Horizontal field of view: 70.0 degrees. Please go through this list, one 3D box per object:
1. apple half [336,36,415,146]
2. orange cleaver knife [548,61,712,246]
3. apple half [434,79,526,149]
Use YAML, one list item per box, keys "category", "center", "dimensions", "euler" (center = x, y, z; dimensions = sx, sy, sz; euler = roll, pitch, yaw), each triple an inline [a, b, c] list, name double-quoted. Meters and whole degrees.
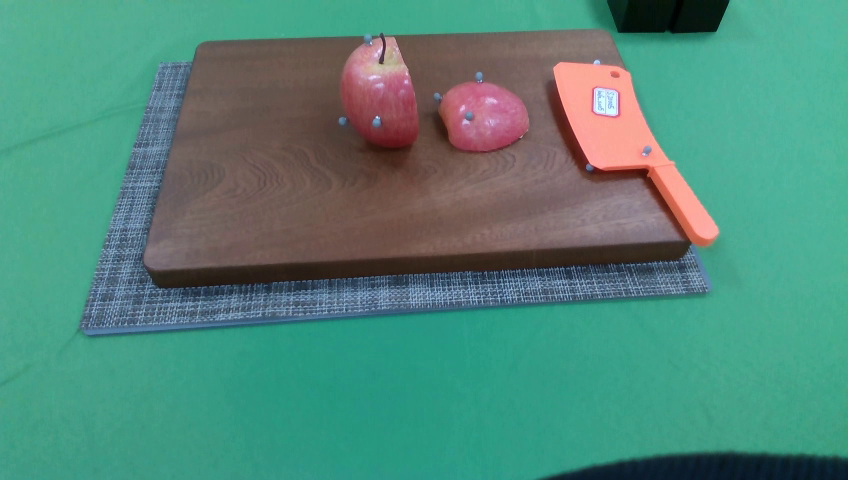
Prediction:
- category: "apple half"
  center: [-0.041, -0.114, 0.479]
  dimensions: [0.053, 0.075, 0.080]
  euler: [-15, 58, -7]
- category: "orange cleaver knife"
  center: [0.160, -0.079, 0.491]
  dimensions: [0.077, 0.012, 0.209]
  euler: [-8, 55, -11]
- category: "apple half"
  center: [0.047, -0.114, 0.507]
  dimensions: [0.081, 0.033, 0.080]
  euler: [-1, 53, 1]
